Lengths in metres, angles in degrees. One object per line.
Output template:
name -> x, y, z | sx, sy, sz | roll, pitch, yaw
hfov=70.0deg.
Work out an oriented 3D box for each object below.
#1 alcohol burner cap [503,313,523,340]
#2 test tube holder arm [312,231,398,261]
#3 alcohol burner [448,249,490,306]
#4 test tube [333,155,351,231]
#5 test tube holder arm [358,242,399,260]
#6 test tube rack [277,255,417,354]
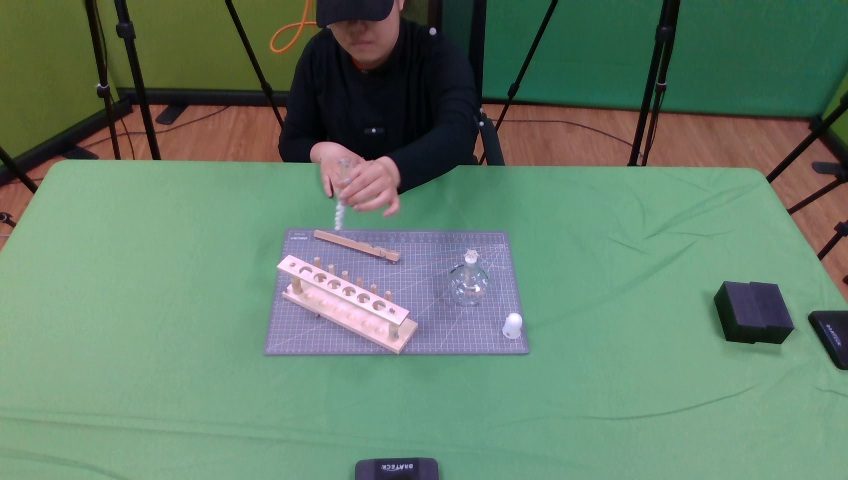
alcohol burner cap -> 0.155, 0.147, 1.051 | 0.034, 0.048, 0.033 | 2, 45, -1
test tube holder arm -> -0.135, 0.011, 1.175 | 0.178, 0.015, 0.013 | 15, 13, 11
alcohol burner -> 0.081, 0.062, 1.078 | 0.078, 0.120, 0.077 | 1, 45, -1
test tube -> -0.131, -0.071, 0.965 | 0.017, 0.151, 0.017 | 8, 42, -7
test tube holder arm -> -0.090, 0.021, 1.172 | 0.087, 0.015, 0.010 | 15, 13, 12
test tube rack -> -0.132, 0.099, 1.045 | 0.241, 0.085, 0.066 | 23, 49, 17
